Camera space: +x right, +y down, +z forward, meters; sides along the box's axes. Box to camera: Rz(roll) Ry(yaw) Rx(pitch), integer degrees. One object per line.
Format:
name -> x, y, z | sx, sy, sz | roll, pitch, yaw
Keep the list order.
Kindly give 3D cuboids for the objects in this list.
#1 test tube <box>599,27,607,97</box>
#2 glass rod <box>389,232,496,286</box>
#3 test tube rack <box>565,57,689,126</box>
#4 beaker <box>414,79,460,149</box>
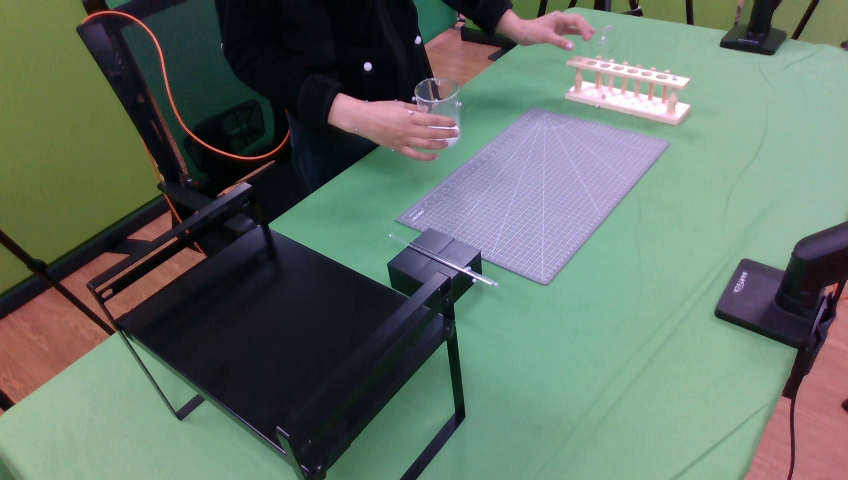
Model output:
test tube -> 0.358, -0.353, 1.210 | 0.017, 0.151, 0.017 | -8, 44, 8
glass rod -> 0.022, 0.026, 0.878 | 0.198, 0.008, 0.008 | 25, 50, 33
test tube rack -> 0.412, -0.311, 1.231 | 0.240, 0.085, 0.067 | 24, 49, 32
beaker -> 0.025, -0.214, 1.029 | 0.074, 0.101, 0.083 | 0, 45, 7
